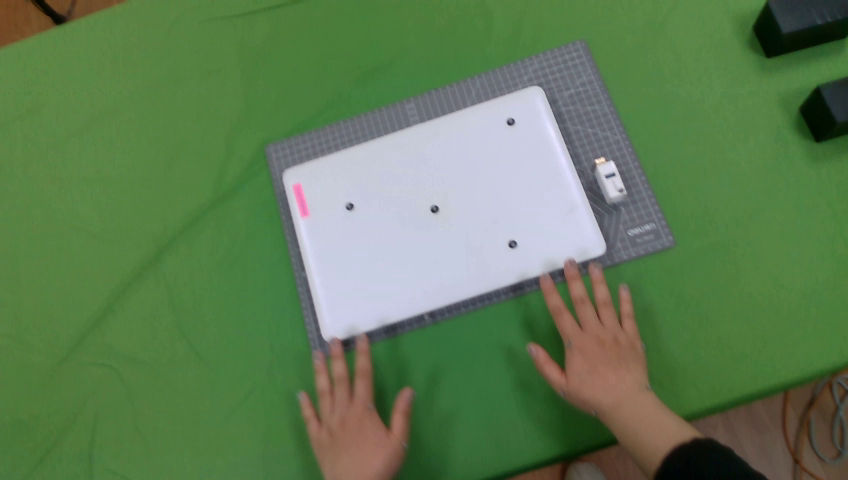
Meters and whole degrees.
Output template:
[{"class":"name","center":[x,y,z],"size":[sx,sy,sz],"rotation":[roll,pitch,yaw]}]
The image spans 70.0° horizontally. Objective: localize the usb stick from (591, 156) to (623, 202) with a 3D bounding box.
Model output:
[{"class":"usb stick","center":[0.217,-0.078,0.727],"size":[0.021,0.027,0.058],"rotation":[-19,68,6]}]

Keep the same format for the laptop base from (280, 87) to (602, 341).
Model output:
[{"class":"laptop base","center":[0.011,-0.037,0.751],"size":[0.354,0.023,0.234],"rotation":[-19,75,2]}]

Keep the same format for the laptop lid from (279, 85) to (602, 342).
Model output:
[{"class":"laptop lid","center":[0.010,-0.038,0.739],"size":[0.357,0.013,0.240],"rotation":[-17,74,3]}]
